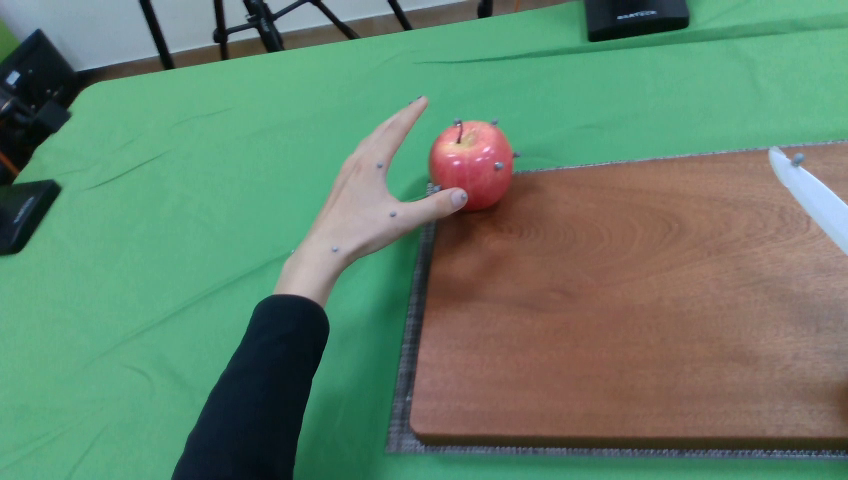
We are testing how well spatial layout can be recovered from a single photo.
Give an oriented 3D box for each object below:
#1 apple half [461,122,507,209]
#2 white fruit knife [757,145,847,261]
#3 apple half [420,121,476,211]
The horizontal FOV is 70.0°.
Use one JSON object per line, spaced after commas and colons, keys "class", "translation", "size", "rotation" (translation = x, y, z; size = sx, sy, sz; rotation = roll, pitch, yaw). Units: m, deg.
{"class": "apple half", "translation": [0.061, -0.068, 0.562], "size": [0.032, 0.082, 0.080], "rotation": [1, 52, 23]}
{"class": "white fruit knife", "translation": [0.280, 0.017, 0.367], "size": [0.016, 0.027, 0.206], "rotation": [-22, 67, -41]}
{"class": "apple half", "translation": [0.025, -0.069, 0.576], "size": [0.053, 0.075, 0.080], "rotation": [2, 54, 23]}
